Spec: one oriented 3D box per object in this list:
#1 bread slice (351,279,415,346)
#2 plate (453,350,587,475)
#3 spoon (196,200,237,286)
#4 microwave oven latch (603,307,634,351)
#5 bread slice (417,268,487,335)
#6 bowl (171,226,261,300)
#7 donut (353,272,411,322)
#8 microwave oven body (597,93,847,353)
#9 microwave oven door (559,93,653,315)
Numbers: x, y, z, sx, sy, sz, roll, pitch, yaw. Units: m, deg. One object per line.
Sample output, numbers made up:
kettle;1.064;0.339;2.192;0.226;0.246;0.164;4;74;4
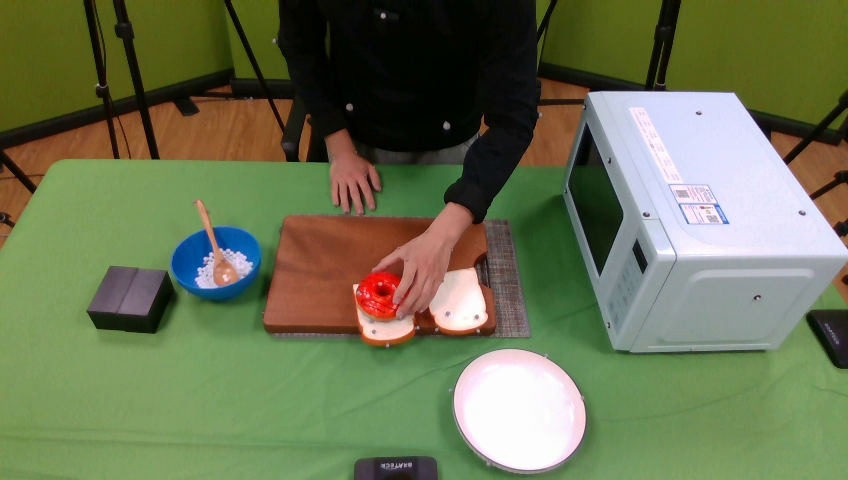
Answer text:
bread slice;-0.067;0.122;1.040;0.105;0.019;0.130;-7;47;-9
plate;0.147;0.267;0.943;0.208;0.039;0.206;2;45;-2
spoon;-0.378;0.003;1.086;0.042;0.022;0.192;-15;67;-23
microwave oven latch;0.332;0.153;1.044;0.030;0.029;0.078;0;45;-3
bread slice;0.055;0.107;1.063;0.107;0.018;0.133;-9;48;-12
bowl;-0.363;0.054;1.081;0.151;0.077;0.150;2;45;-2
donut;-0.070;0.096;1.025;0.099;0.048;0.098;2;45;-2
microwave oven body;0.475;-0.041;1.109;0.326;0.261;0.438;-1;45;-4
microwave oven door;0.327;-0.074;1.123;0.039;0.245;0.353;-1;46;-5
